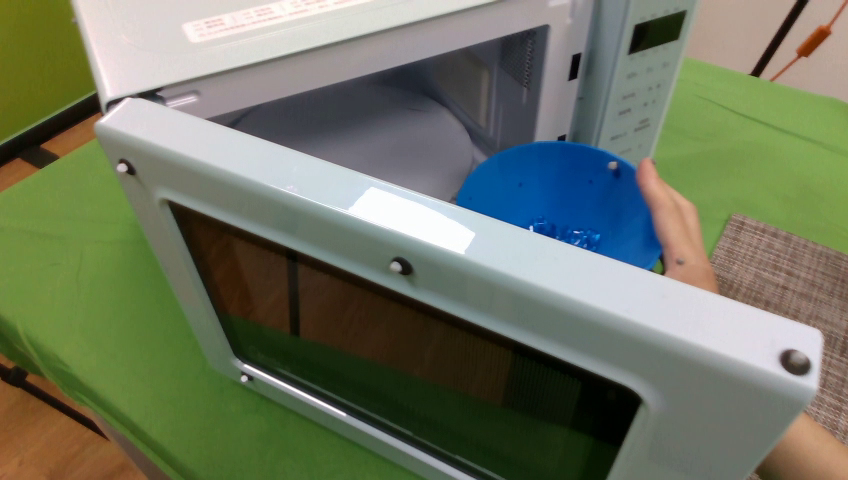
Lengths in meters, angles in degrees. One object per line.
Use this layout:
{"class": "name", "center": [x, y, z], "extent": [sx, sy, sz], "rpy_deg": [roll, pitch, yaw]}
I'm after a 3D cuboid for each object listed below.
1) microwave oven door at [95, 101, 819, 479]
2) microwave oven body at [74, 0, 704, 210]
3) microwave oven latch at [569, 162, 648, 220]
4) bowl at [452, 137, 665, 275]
{"class": "microwave oven door", "center": [-0.012, 0.068, 0.356], "extent": [0.354, 0.246, 0.039], "rpy_deg": [20, 49, 19]}
{"class": "microwave oven body", "center": [-0.043, -0.146, 0.573], "extent": [0.442, 0.262, 0.322], "rpy_deg": [-22, 50, -18]}
{"class": "microwave oven latch", "center": [0.186, -0.049, 0.610], "extent": [0.079, 0.030, 0.030], "rpy_deg": [-20, 49, -17]}
{"class": "bowl", "center": [0.096, 0.002, 0.461], "extent": [0.151, 0.077, 0.150], "rpy_deg": [-1, 53, 2]}
